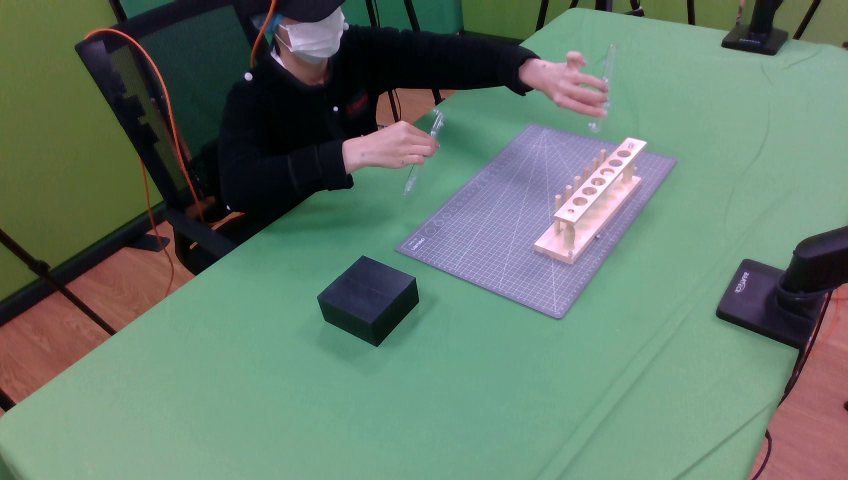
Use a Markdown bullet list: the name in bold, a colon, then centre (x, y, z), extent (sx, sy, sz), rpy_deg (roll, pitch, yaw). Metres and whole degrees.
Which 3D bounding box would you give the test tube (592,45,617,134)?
- **test tube**: centre (0.293, -0.245, 0.980), extent (0.017, 0.017, 0.150), rpy_deg (10, 86, 20)

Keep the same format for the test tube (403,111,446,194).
- **test tube**: centre (0.000, -0.144, 1.008), extent (0.017, 0.150, 0.017), rpy_deg (24, 16, -7)

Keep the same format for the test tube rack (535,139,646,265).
- **test tube rack**: centre (0.269, -0.071, 0.964), extent (0.066, 0.085, 0.243), rpy_deg (23, 49, 32)
